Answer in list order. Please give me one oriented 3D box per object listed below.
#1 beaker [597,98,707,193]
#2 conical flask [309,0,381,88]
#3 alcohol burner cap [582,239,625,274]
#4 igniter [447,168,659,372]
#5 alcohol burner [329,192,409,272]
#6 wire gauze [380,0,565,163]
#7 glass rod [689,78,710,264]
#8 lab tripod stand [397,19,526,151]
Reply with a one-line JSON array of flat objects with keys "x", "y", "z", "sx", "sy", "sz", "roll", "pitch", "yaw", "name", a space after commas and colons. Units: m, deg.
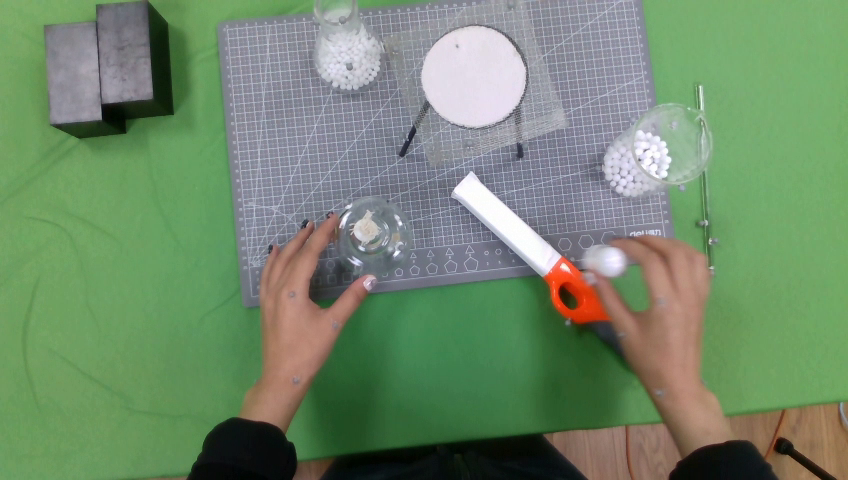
[{"x": 0.218, "y": -0.088, "z": 0.589, "sx": 0.084, "sy": 0.100, "sz": 0.074, "roll": -43, "pitch": 88, "yaw": -4, "name": "beaker"}, {"x": -0.081, "y": -0.198, "z": 0.576, "sx": 0.075, "sy": 0.122, "sz": 0.075, "roll": 0, "pitch": 85, "yaw": -1, "name": "conical flask"}, {"x": 0.167, "y": 0.015, "z": 0.554, "sx": 0.034, "sy": 0.048, "sz": 0.034, "roll": 0, "pitch": 88, "yaw": -3, "name": "alcohol burner cap"}, {"x": 0.134, "y": 0.030, "z": 0.616, "sx": 0.276, "sy": 0.025, "sz": 0.057, "roll": 42, "pitch": 69, "yaw": 1, "name": "igniter"}, {"x": -0.053, "y": -0.010, "z": 0.569, "sx": 0.078, "sy": 0.119, "sz": 0.077, "roll": 0, "pitch": 85, "yaw": 1, "name": "alcohol burner"}, {"x": 0.040, "y": -0.137, "z": 0.503, "sx": 0.125, "sy": 0.011, "sz": 0.121, "roll": -19, "pitch": 87, "yaw": -2, "name": "wire gauze"}, {"x": 0.291, "y": -0.074, "z": 0.639, "sx": 0.008, "sy": 0.008, "sz": 0.199, "roll": -3, "pitch": 86, "yaw": -2, "name": "glass rod"}, {"x": 0.037, "y": -0.134, "z": 0.570, "sx": 0.148, "sy": 0.131, "sz": 0.148, "roll": 0, "pitch": 88, "yaw": -1, "name": "lab tripod stand"}]
